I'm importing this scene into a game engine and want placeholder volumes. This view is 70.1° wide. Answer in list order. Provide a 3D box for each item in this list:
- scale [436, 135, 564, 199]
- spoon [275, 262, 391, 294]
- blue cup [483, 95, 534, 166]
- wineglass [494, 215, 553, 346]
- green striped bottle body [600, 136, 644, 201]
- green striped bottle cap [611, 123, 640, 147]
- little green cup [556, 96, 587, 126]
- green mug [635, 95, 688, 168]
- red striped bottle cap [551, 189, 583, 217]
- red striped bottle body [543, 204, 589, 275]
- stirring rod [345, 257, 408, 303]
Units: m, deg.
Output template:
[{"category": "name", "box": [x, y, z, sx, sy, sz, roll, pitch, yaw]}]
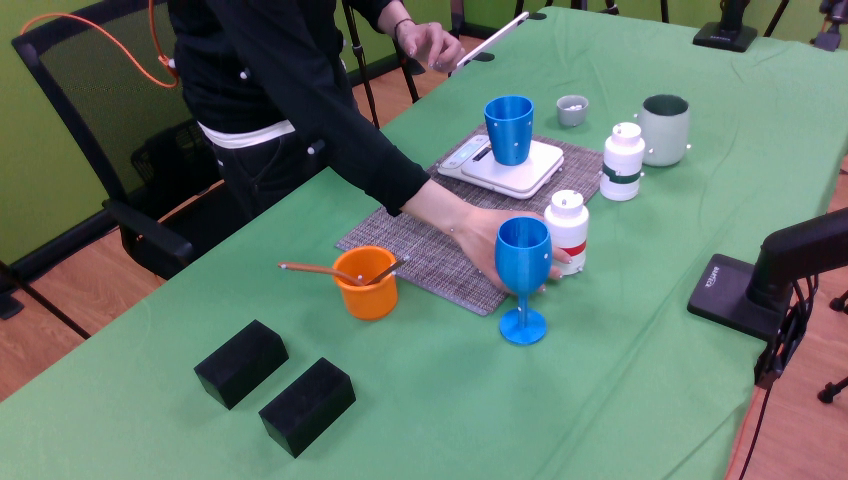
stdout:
[{"category": "scale", "box": [0.137, -0.142, 1.101, 0.199, 0.032, 0.149, 22, 48, 30]}, {"category": "spoon", "box": [-0.120, 0.050, 0.830, 0.041, 0.195, 0.021, 31, 97, 45]}, {"category": "blue cup", "box": [0.149, -0.187, 1.051, 0.092, 0.101, 0.092, -6, 40, 6]}, {"category": "wineglass", "box": [0.127, 0.055, 0.770, 0.074, 0.173, 0.073, -4, 40, 4]}, {"category": "green striped bottle body", "box": [0.326, -0.128, 0.997, 0.063, 0.120, 0.063, -4, 41, 4]}, {"category": "green striped bottle cap", "box": [0.322, -0.168, 0.963, 0.044, 0.020, 0.044, -3, 41, 4]}, {"category": "little green cup", "box": [0.295, -0.258, 1.214, 0.061, 0.039, 0.061, -4, 42, 4]}, {"category": "green mug", "box": [0.421, -0.201, 1.081, 0.092, 0.105, 0.125, 5, 42, 15]}, {"category": "red striped bottle cap", "box": [0.200, -0.052, 0.843, 0.044, 0.018, 0.044, -2, 42, 2]}, {"category": "red striped bottle body", "box": [0.206, -0.011, 0.877, 0.063, 0.120, 0.062, -4, 41, 4]}, {"category": "stirring rod", "box": [-0.067, 0.056, 0.814, 0.014, 0.175, 0.006, -23, 81, -38]}]
